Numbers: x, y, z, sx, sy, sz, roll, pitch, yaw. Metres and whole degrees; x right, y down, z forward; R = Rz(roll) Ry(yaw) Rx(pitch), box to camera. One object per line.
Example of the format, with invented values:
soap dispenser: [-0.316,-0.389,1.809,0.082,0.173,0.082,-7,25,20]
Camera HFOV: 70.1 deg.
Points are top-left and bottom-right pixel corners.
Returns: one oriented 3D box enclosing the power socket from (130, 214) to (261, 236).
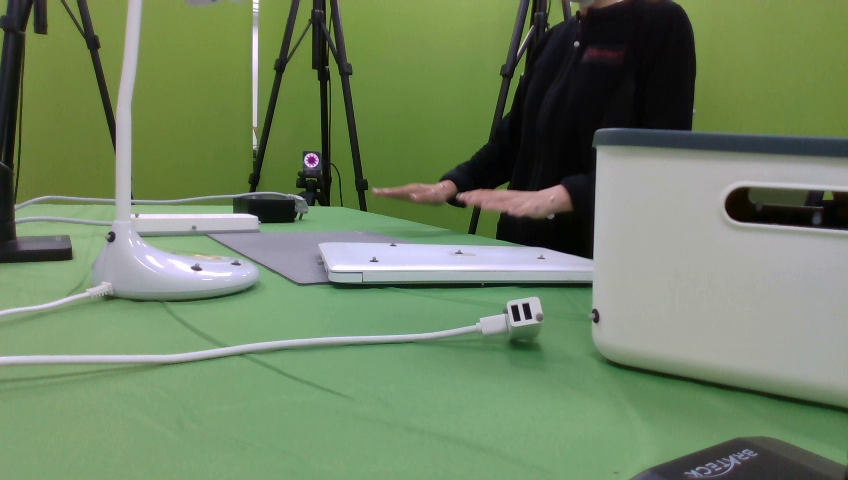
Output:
power socket: [-0.397,-0.028,1.048,0.228,0.032,0.072,-3,7,-35]

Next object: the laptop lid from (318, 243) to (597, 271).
laptop lid: [0.046,0.022,0.789,0.358,0.013,0.241,1,6,-12]

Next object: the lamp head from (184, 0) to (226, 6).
lamp head: [-0.229,-0.320,0.627,0.112,0.112,0.123,6,-35,26]

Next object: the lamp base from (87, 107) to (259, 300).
lamp base: [-0.254,-0.039,0.603,0.160,0.180,0.179,4,10,18]

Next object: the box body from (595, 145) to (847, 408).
box body: [0.309,0.006,0.510,0.253,0.160,0.366,6,8,29]

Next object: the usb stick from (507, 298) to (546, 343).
usb stick: [0.079,0.065,0.470,0.027,0.021,0.059,-12,-24,4]

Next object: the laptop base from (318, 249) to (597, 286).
laptop base: [0.046,0.034,0.789,0.355,0.023,0.235,1,5,-14]

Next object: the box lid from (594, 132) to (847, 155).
box lid: [0.310,-0.066,0.499,0.262,0.015,0.373,7,8,29]

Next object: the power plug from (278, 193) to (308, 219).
power plug: [-0.293,-0.076,1.344,0.073,0.052,0.035,17,16,-16]

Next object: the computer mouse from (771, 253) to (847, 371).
computer mouse: [0.344,0.056,0.518,0.063,0.041,0.117,13,48,2]
